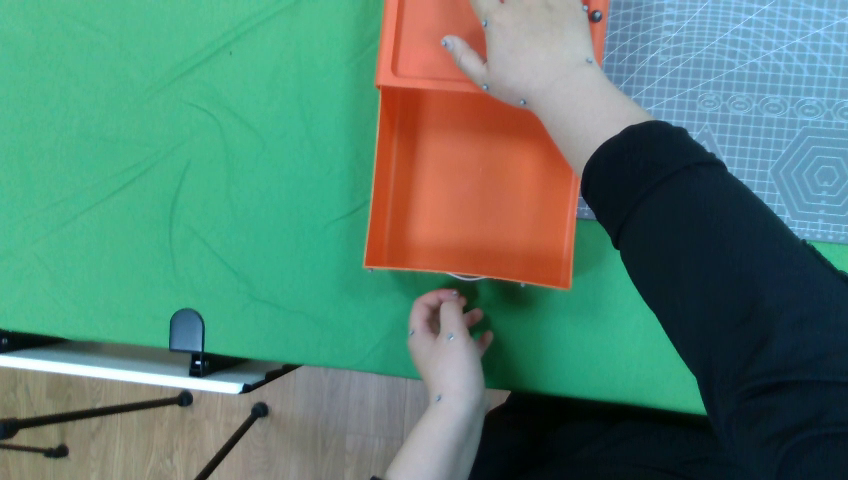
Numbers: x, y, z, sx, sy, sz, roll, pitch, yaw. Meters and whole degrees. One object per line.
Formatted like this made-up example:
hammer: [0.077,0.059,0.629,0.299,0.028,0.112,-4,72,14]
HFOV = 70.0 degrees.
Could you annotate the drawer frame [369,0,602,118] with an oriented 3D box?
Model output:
drawer frame: [0.062,-0.227,0.567,0.201,0.083,0.213,5,91,10]

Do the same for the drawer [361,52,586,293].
drawer: [0.048,-0.063,0.576,0.194,0.073,0.212,5,94,11]
